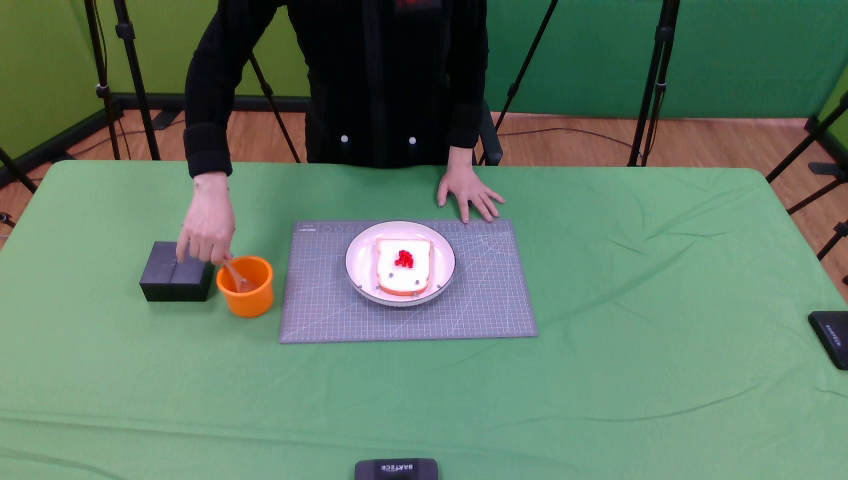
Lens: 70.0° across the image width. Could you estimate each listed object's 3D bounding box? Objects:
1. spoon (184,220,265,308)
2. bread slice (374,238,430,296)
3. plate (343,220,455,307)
[{"bbox_3d":[-0.341,0.041,1.037,0.021,0.194,0.041,-15,26,41],"label":"spoon"},{"bbox_3d":[-0.039,0.048,1.135,0.107,0.018,0.133,-1,47,-4],"label":"bread slice"},{"bbox_3d":[-0.047,0.046,1.135,0.209,0.038,0.208,2,46,-2],"label":"plate"}]
